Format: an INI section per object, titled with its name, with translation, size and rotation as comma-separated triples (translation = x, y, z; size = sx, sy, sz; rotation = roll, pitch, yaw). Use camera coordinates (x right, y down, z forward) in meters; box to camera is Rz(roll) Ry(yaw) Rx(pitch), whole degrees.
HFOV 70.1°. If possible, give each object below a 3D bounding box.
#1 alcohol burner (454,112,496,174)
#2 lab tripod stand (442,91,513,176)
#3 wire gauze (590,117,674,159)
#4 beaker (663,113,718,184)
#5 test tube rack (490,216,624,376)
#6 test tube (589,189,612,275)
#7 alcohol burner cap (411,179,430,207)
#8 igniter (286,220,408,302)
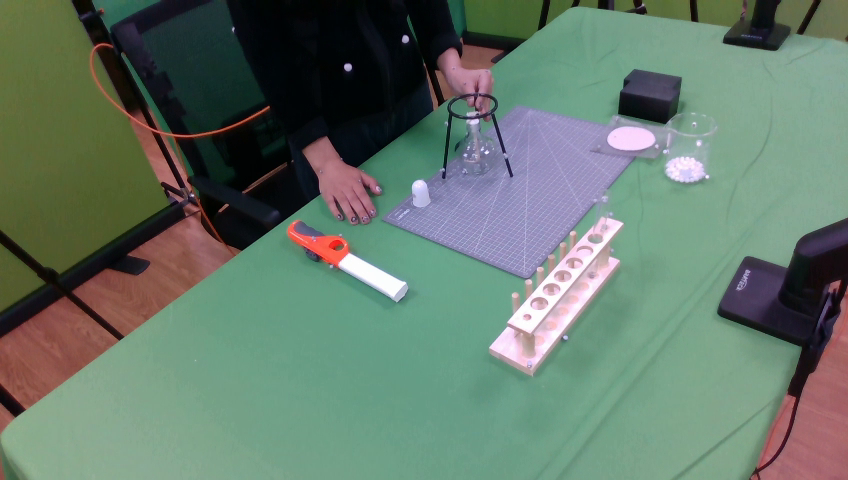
[alcohol burner]
translation = 0.092, -0.181, 1.102
size = 0.078, 0.119, 0.077
rotation = -5, 42, 5
[lab tripod stand]
translation = 0.096, -0.190, 1.096
size = 0.148, 0.132, 0.147
rotation = -4, 40, 4
[wire gauze]
translation = 0.393, -0.192, 1.139
size = 0.120, 0.011, 0.125
rotation = 19, 47, 28
[beaker]
translation = 0.442, -0.151, 1.018
size = 0.084, 0.101, 0.074
rotation = -1, 40, 11
[test tube rack]
translation = 0.184, 0.064, 0.822
size = 0.066, 0.085, 0.243
rotation = 24, 50, 33
[test tube]
translation = 0.238, -0.007, 0.818
size = 0.017, 0.151, 0.017
rotation = -3, 43, 4
[alcohol burner cap]
translation = -0.008, -0.085, 1.063
size = 0.034, 0.048, 0.033
rotation = -4, 40, 4
[igniter]
translation = -0.134, 0.028, 0.969
size = 0.274, 0.025, 0.057
rotation = 26, 61, 35
